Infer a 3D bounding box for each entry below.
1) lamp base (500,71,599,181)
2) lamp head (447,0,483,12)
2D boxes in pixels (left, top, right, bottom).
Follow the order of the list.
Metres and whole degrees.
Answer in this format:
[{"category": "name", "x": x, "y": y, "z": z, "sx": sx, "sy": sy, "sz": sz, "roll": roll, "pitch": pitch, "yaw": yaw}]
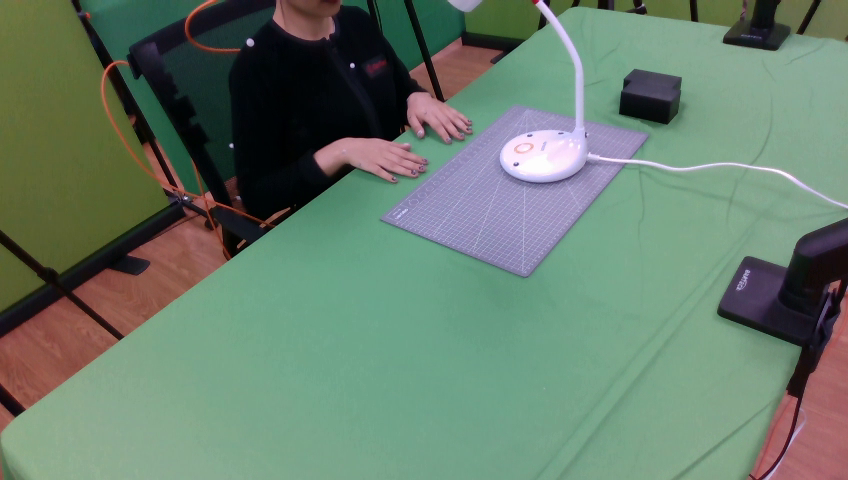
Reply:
[{"category": "lamp base", "x": 0.223, "y": -0.217, "z": 1.068, "sx": 0.179, "sy": 0.181, "sz": 0.160, "roll": 2, "pitch": 42, "yaw": 10}, {"category": "lamp head", "x": 0.084, "y": -0.422, "z": 0.915, "sx": 0.122, "sy": 0.113, "sz": 0.112, "roll": -21, "pitch": 31, "yaw": 36}]
